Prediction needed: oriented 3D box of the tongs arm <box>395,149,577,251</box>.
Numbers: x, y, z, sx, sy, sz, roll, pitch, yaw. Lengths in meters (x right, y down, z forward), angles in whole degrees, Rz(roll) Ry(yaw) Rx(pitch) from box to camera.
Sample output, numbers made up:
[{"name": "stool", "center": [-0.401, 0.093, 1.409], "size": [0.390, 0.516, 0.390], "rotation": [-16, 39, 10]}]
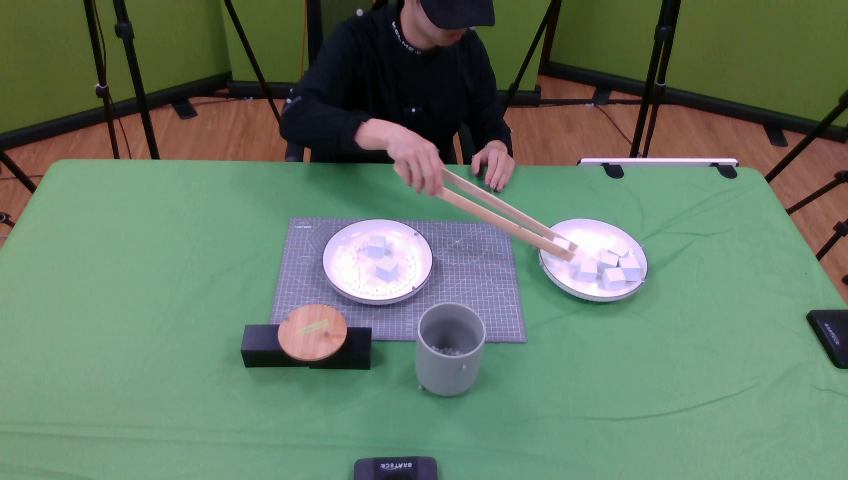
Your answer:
[{"name": "tongs arm", "center": [0.116, -0.078, 1.159], "size": [0.387, 0.028, 0.028], "rotation": [29, 49, 4]}]

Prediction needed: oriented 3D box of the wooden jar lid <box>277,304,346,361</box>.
[{"name": "wooden jar lid", "center": [-0.179, 0.150, 0.972], "size": [0.108, 0.021, 0.107], "rotation": [2, 45, -2]}]

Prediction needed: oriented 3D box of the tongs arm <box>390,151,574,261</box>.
[{"name": "tongs arm", "center": [0.107, -0.065, 1.144], "size": [0.385, 0.026, 0.050], "rotation": [25, 45, 1]}]

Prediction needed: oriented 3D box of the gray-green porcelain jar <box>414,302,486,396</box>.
[{"name": "gray-green porcelain jar", "center": [0.038, 0.177, 0.958], "size": [0.106, 0.127, 0.105], "rotation": [2, 46, -2]}]

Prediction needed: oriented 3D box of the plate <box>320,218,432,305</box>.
[{"name": "plate", "center": [-0.089, 0.044, 1.134], "size": [0.209, 0.038, 0.208], "rotation": [3, 46, -2]}]

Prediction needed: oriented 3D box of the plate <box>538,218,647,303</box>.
[{"name": "plate", "center": [0.322, 0.042, 1.171], "size": [0.208, 0.039, 0.206], "rotation": [2, 46, -2]}]
